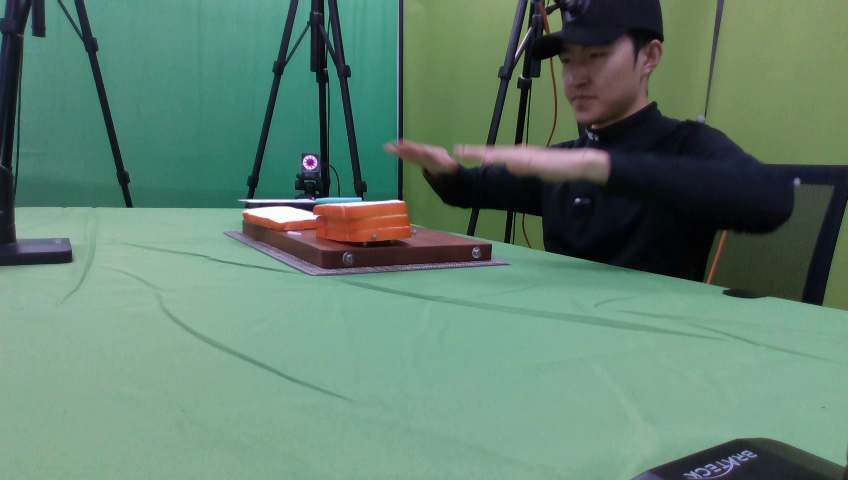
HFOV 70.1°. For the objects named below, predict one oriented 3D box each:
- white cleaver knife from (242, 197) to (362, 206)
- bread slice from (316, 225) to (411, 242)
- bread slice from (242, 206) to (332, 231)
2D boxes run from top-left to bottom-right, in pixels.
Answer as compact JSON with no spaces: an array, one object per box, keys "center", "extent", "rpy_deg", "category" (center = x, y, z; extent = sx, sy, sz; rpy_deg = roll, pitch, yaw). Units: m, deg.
[{"center":[-0.256,-0.086,1.295],"extent":[0.288,0.021,0.065],"rpy_deg":[-2,9,-41],"category":"white cleaver knife"},{"center":[-0.082,-0.010,0.848],"extent":[0.107,0.018,0.133],"rpy_deg":[-5,5,-28],"category":"bread slice"},{"center":[-0.233,-0.036,1.001],"extent":[0.131,0.019,0.105],"rpy_deg":[13,16,40],"category":"bread slice"}]
